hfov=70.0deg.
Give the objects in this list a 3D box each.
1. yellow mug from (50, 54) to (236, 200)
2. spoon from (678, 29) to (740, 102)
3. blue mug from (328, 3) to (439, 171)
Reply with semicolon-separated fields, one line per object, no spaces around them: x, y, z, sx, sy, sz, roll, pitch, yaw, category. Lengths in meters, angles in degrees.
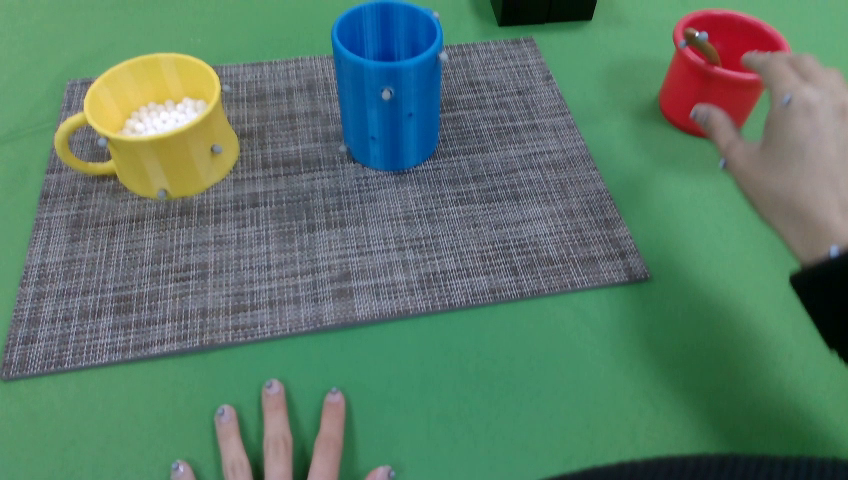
-0.221;-0.085;0.476;0.131;0.064;0.099;-20;57;-16;yellow mug
0.232;-0.143;0.497;0.041;0.022;0.195;43;19;27;spoon
-0.022;-0.131;0.495;0.082;0.107;0.116;28;57;18;blue mug
